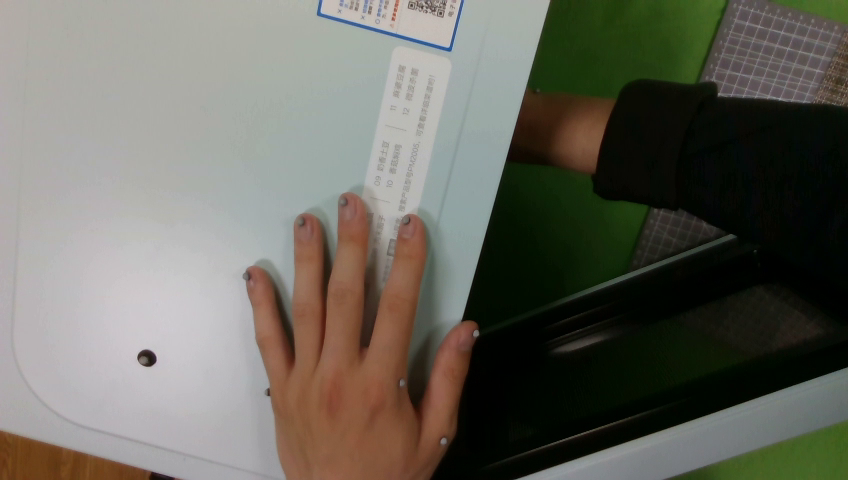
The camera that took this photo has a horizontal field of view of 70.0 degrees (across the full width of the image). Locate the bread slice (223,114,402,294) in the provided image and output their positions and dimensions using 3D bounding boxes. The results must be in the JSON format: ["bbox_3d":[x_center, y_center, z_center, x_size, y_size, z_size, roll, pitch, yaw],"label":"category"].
[{"bbox_3d":[-0.099,-0.031,0.488,0.105,0.019,0.132,-41,97,13],"label":"bread slice"}]

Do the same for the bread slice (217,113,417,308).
[{"bbox_3d":[-0.083,-0.025,0.429,0.134,0.018,0.107,26,109,7],"label":"bread slice"}]

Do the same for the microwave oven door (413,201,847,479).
[{"bbox_3d":[0.161,0.080,0.445,0.355,0.243,0.039,-23,101,10],"label":"microwave oven door"}]

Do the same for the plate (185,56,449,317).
[{"bbox_3d":[-0.083,-0.040,0.488,0.207,0.039,0.208,1,108,4],"label":"plate"}]

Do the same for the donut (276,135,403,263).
[{"bbox_3d":[-0.065,-0.031,0.466,0.099,0.048,0.099,0,102,0],"label":"donut"}]

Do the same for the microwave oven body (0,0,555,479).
[{"bbox_3d":[-0.083,-0.092,0.424,0.326,0.259,0.443,14,106,1],"label":"microwave oven body"}]
